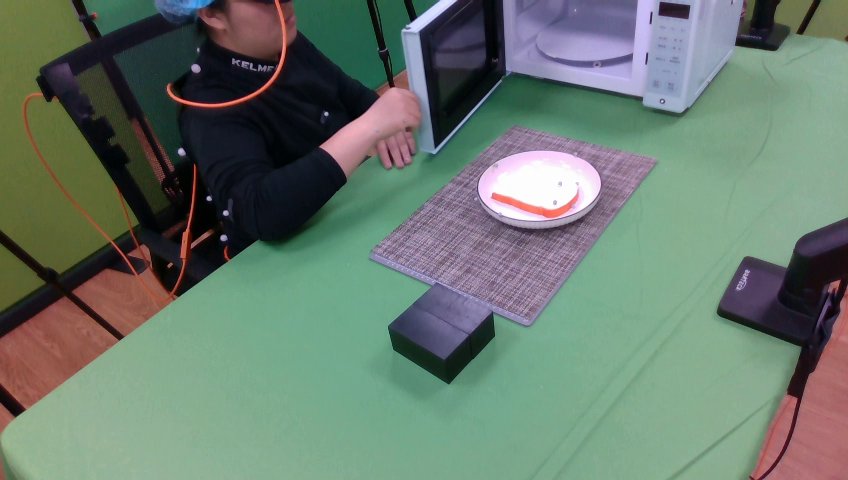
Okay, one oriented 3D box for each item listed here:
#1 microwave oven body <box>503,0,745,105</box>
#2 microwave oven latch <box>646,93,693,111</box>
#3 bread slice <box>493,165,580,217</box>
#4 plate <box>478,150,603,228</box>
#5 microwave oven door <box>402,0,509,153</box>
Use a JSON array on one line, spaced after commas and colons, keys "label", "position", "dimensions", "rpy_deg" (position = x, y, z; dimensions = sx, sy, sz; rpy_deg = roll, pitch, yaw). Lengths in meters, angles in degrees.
[{"label": "microwave oven body", "position": [0.416, -0.486, 1.290], "dimensions": [0.438, 0.261, 0.327], "rpy_deg": [21, 50, 33]}, {"label": "microwave oven latch", "position": [0.477, -0.273, 1.177], "dimensions": [0.078, 0.029, 0.030], "rpy_deg": [22, 50, 33]}, {"label": "bread slice", "position": [0.200, -0.084, 1.034], "dimensions": [0.130, 0.019, 0.105], "rpy_deg": [23, 50, 35]}, {"label": "plate", "position": [0.198, -0.084, 1.030], "dimensions": [0.209, 0.038, 0.208], "rpy_deg": [-5, 40, 5]}, {"label": "microwave oven door", "position": [0.077, -0.371, 1.213], "dimensions": [0.039, 0.245, 0.356], "rpy_deg": [15, 46, 27]}]
